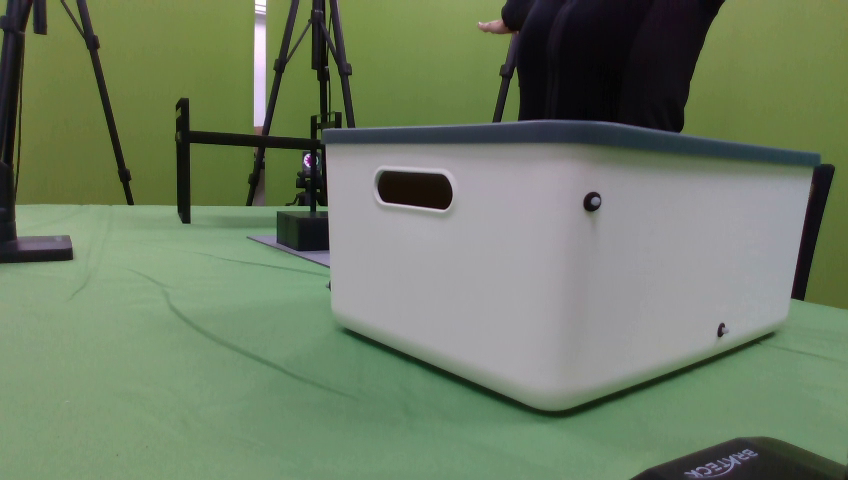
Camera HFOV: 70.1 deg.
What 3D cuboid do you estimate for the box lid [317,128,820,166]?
[{"bbox_3d":[0.129,-0.074,0.501,0.374,0.015,0.262,-4,11,-40],"label":"box lid"}]

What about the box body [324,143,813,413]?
[{"bbox_3d":[0.125,0.000,0.510,0.366,0.160,0.253,-4,9,-40],"label":"box body"}]

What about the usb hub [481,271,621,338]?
[{"bbox_3d":[0.112,0.053,0.526,0.126,0.025,0.049,-10,16,-33],"label":"usb hub"}]
